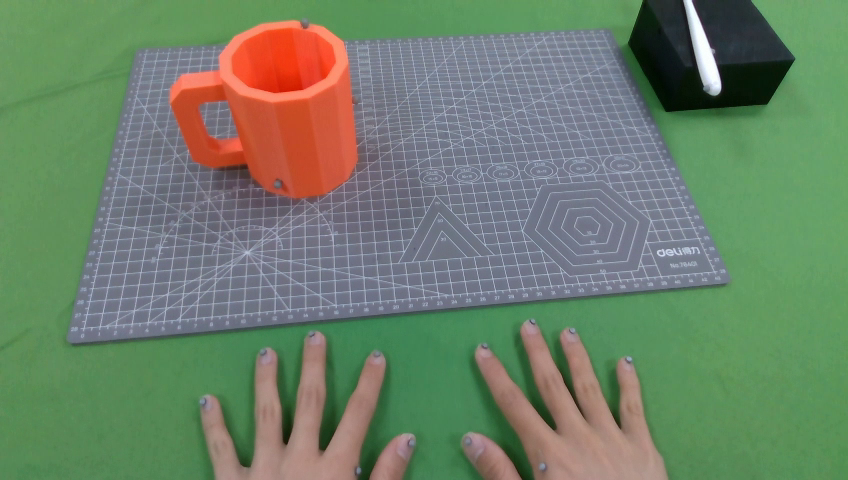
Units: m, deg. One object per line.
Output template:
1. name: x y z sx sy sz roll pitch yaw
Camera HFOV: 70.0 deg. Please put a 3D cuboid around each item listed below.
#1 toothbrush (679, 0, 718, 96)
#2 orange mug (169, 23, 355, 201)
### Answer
1. toothbrush: 0.232 -0.188 0.524 0.014 0.017 0.180 6 55 -2
2. orange mug: -0.114 -0.090 0.442 0.126 0.101 0.082 -8 55 -13
